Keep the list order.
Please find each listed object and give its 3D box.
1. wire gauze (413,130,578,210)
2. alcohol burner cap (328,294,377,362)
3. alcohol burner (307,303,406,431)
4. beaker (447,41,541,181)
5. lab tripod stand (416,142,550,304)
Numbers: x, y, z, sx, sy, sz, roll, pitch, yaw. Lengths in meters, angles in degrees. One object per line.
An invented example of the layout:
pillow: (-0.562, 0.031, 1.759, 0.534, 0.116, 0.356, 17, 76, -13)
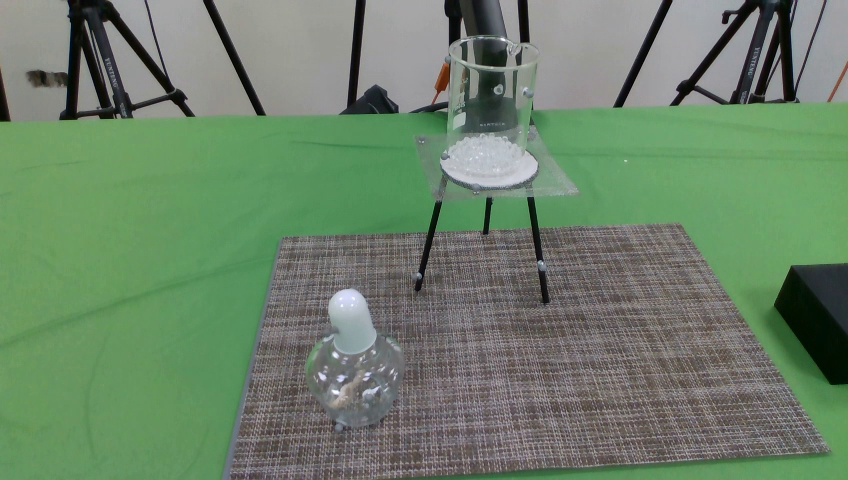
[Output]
wire gauze: (0.059, -0.064, 0.538, 0.125, 0.011, 0.120, -2, 39, -9)
alcohol burner cap: (-0.054, 0.060, 0.438, 0.034, 0.048, 0.033, -5, 35, 4)
alcohol burner: (-0.052, 0.089, 0.459, 0.078, 0.120, 0.077, 1, 38, 0)
beaker: (0.057, -0.109, 0.515, 0.073, 0.101, 0.084, 21, 41, 23)
lab tripod stand: (0.063, -0.015, 0.581, 0.148, 0.132, 0.147, 1, 36, -1)
